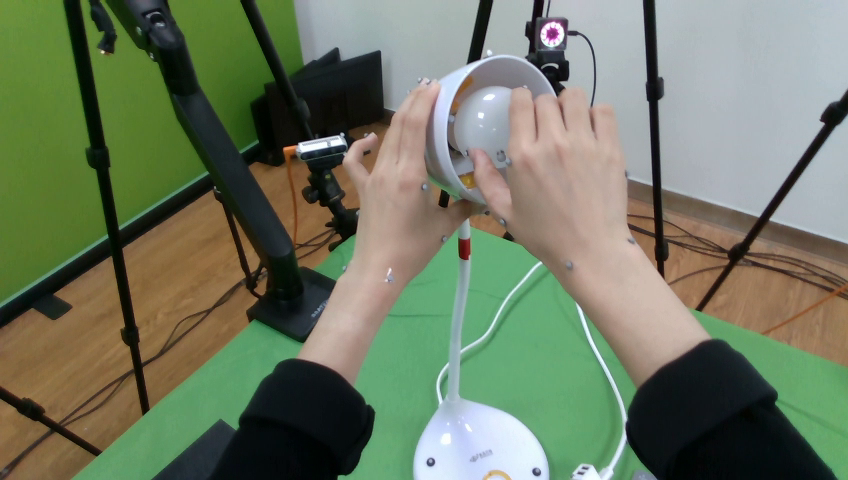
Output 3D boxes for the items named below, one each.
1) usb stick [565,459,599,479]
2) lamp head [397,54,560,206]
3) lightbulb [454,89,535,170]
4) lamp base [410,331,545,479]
[{"bbox_3d":[0.185,0.279,0.682,0.027,0.059,0.021,-29,5,-35],"label":"usb stick"},{"bbox_3d":[0.033,-0.083,0.499,0.112,0.113,0.122,-26,14,-26],"label":"lamp head"},{"bbox_3d":[0.047,-0.082,0.476,0.059,0.059,0.107,-14,3,-14],"label":"lightbulb"},{"bbox_3d":[0.053,0.200,0.677,0.161,0.182,0.177,-25,42,-25],"label":"lamp base"}]
